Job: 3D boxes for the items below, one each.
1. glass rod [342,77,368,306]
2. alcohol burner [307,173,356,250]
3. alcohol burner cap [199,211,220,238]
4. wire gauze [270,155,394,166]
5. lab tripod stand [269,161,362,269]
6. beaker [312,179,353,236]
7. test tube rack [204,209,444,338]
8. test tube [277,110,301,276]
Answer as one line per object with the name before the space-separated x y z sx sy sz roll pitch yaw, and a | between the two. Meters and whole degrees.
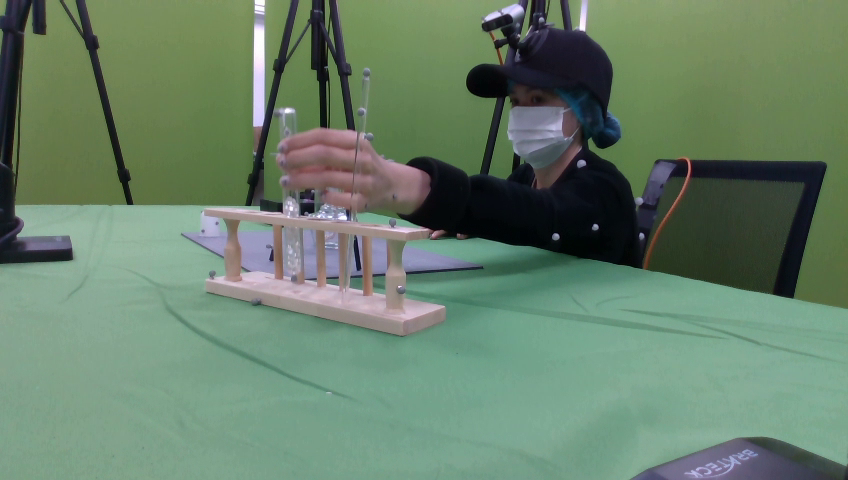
glass rod | -0.059 -0.038 0.518 0.008 0.199 0.008 6 8 0
alcohol burner | -0.144 -0.045 0.940 0.078 0.119 0.078 2 9 0
alcohol burner cap | -0.356 -0.027 1.002 0.034 0.048 0.034 3 7 0
wire gauze | -0.121 -0.102 0.785 0.122 0.011 0.124 -3 10 -39
lab tripod stand | -0.125 -0.036 0.793 0.148 0.131 0.148 5 7 0
beaker | -0.167 -0.059 1.103 0.074 0.100 0.084 1 8 -11
test tube rack | -0.100 0.021 0.565 0.241 0.085 0.067 7 9 32
test tube | -0.122 -0.041 0.548 0.017 0.150 0.017 -1 8 0
